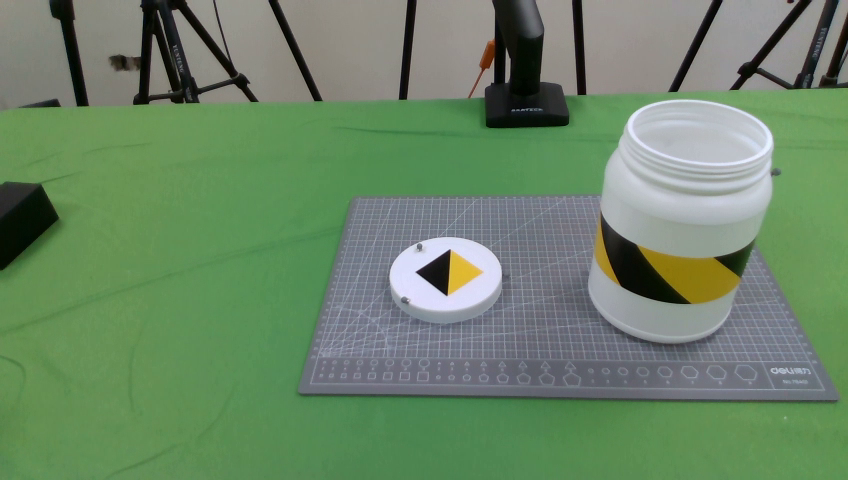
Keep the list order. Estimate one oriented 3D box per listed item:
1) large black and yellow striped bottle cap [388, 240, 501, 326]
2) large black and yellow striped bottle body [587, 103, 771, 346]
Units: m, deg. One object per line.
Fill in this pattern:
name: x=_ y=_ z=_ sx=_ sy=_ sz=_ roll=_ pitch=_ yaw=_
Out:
large black and yellow striped bottle cap: x=0.020 y=0.041 z=0.616 sx=0.115 sy=0.019 sz=0.114 roll=-1 pitch=39 yaw=1
large black and yellow striped bottle body: x=0.218 y=-0.013 z=0.532 sx=0.131 sy=0.185 sz=0.129 roll=-2 pitch=39 yaw=2
